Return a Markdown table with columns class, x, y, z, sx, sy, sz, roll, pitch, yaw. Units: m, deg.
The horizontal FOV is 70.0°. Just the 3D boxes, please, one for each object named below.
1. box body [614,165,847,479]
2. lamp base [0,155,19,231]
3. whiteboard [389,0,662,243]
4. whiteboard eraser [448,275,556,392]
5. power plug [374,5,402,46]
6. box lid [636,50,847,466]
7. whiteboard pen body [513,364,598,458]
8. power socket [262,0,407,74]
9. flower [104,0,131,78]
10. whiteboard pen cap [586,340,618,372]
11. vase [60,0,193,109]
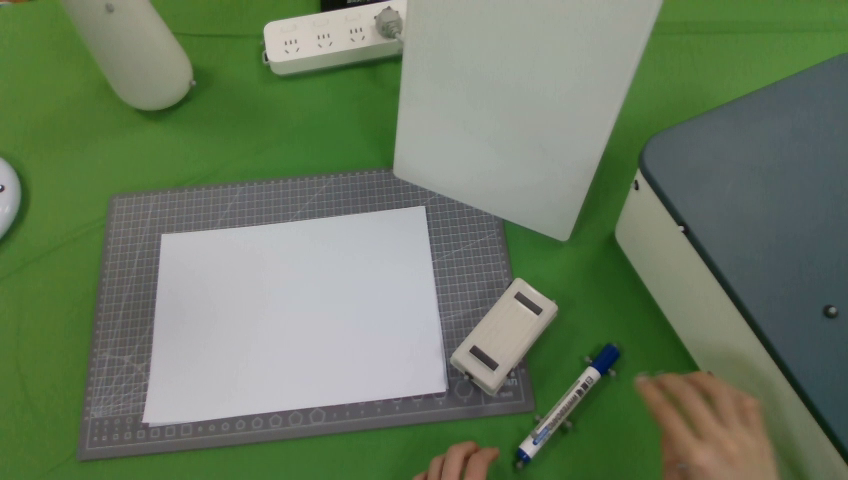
| class | x | y | z | sx | sy | sz | roll | pitch | yaw |
| --- | --- | --- | --- | --- | --- | --- | --- | --- | --- |
| box body | 0.374 | 0.046 | 0.555 | 0.254 | 0.161 | 0.361 | -23 | 66 | -9 |
| lamp base | -0.566 | -0.080 | 0.633 | 0.178 | 0.182 | 0.160 | 24 | 68 | 16 |
| whiteboard | 0.103 | -0.183 | 0.625 | 0.216 | 0.308 | 0.143 | 23 | 47 | 13 |
| whiteboard eraser | 0.078 | 0.093 | 0.606 | 0.055 | 0.042 | 0.112 | 37 | 71 | 18 |
| power plug | -0.045 | -0.260 | 0.756 | 0.035 | 0.053 | 0.072 | -2 | 71 | 1 |
| box lid | 0.371 | 0.012 | 0.488 | 0.263 | 0.015 | 0.368 | -23 | 67 | -8 |
| whiteboard pen body | 0.137 | 0.157 | 0.592 | 0.017 | 0.017 | 0.140 | 42 | 73 | 19 |
| power socket | -0.100 | -0.267 | 0.786 | 0.227 | 0.033 | 0.071 | -11 | 66 | -4 |
| flower | -0.326 | -0.271 | 0.613 | 0.038 | 0.362 | 0.044 | 42 | 63 | 1 |
| whiteboard pen cap | 0.178 | 0.118 | 0.609 | 0.018 | 0.018 | 0.033 | 41 | 74 | 19 |
| vase | -0.344 | -0.241 | 0.690 | 0.098 | 0.201 | 0.097 | -1 | 65 | 3 |
